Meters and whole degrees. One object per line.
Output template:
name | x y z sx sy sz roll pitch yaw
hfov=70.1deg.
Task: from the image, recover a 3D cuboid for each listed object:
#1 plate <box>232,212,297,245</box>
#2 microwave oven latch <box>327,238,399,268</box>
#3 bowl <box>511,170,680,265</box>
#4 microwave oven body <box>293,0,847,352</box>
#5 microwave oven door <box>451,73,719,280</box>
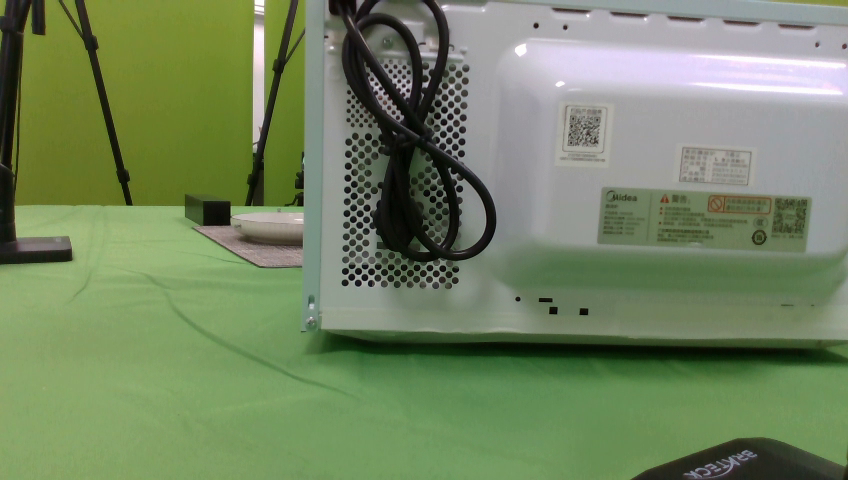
plate | -0.214 -0.019 1.018 0.208 0.039 0.207 2 7 0
microwave oven latch | -0.069 0.015 0.694 0.079 0.029 0.030 3 7 -3
bowl | 0.156 -0.022 0.567 0.151 0.077 0.151 0 11 0
microwave oven body | 0.122 -0.055 0.550 0.442 0.260 0.325 3 7 -5
microwave oven door | 0.194 -0.091 0.815 0.354 0.243 0.039 8 9 38
